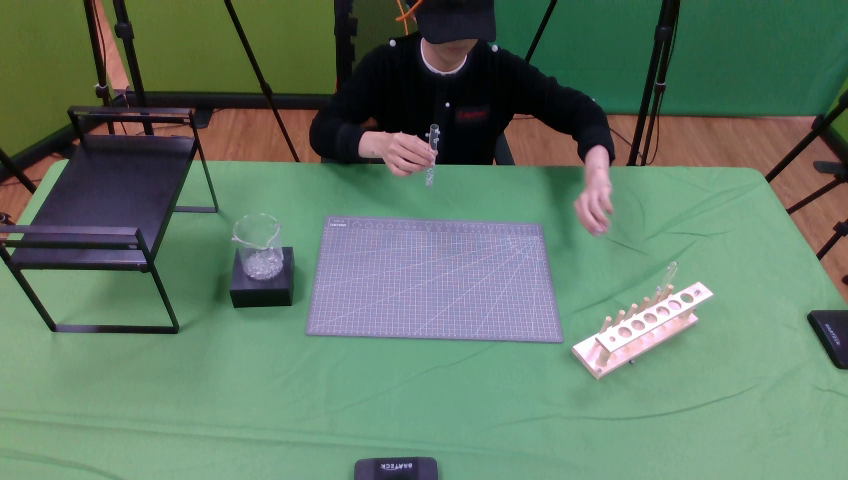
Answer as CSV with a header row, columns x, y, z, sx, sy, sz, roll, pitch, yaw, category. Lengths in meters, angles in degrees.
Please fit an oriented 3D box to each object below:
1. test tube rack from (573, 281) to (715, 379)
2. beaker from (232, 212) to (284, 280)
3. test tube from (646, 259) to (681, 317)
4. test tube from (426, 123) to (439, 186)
x,y,z,sx,sy,sz,roll,pitch,yaw,category
0.378,0.140,1.038,0.242,0.085,0.066,-22,51,-23,test tube rack
-0.280,0.016,1.037,0.074,0.101,0.083,-19,50,-20,beaker
0.406,0.083,1.033,0.017,0.151,0.017,2,48,-2,test tube
0.015,-0.155,1.123,0.017,0.151,0.017,2,51,-2,test tube
